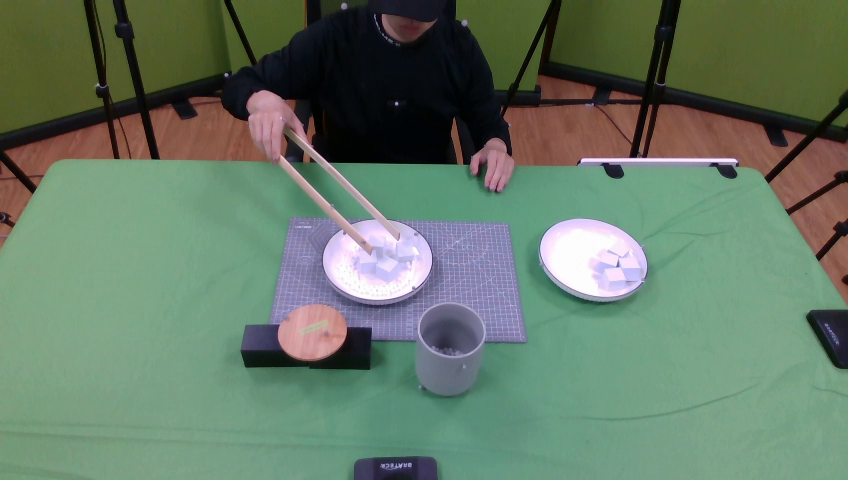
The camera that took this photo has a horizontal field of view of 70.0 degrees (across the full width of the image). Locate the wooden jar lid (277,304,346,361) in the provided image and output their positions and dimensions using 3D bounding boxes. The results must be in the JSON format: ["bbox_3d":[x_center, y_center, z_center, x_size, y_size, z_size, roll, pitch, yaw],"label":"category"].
[{"bbox_3d":[-0.179,0.150,0.972,0.108,0.021,0.107,2,45,-2],"label":"wooden jar lid"}]

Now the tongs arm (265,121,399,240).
[{"bbox_3d":[-0.183,-0.123,1.171,0.028,0.028,0.385,-36,64,-29],"label":"tongs arm"}]

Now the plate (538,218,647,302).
[{"bbox_3d":[0.322,0.042,1.171,0.208,0.039,0.206,2,46,-2],"label":"plate"}]

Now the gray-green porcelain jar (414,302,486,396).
[{"bbox_3d":[0.038,0.177,0.958,0.106,0.127,0.105,2,46,-2],"label":"gray-green porcelain jar"}]

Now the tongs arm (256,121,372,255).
[{"bbox_3d":[-0.210,-0.106,1.150,0.051,0.026,0.383,-34,63,-32],"label":"tongs arm"}]

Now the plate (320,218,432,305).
[{"bbox_3d":[-0.089,0.044,1.134,0.209,0.038,0.208,2,46,-2],"label":"plate"}]
